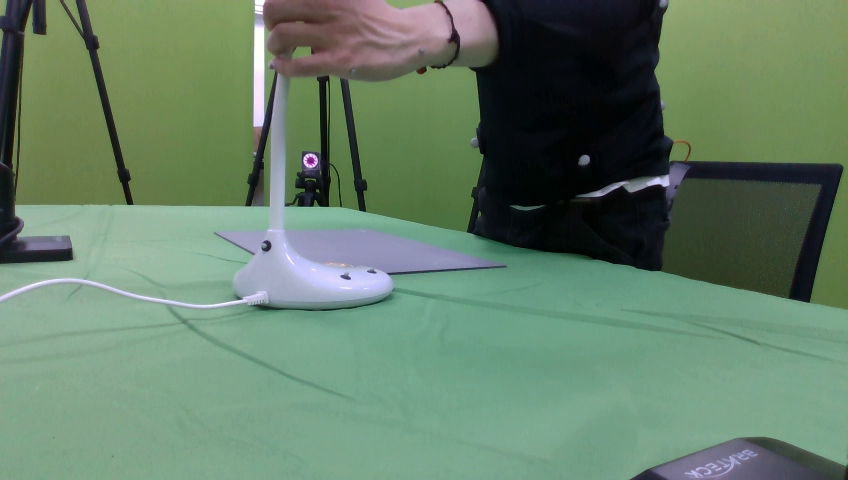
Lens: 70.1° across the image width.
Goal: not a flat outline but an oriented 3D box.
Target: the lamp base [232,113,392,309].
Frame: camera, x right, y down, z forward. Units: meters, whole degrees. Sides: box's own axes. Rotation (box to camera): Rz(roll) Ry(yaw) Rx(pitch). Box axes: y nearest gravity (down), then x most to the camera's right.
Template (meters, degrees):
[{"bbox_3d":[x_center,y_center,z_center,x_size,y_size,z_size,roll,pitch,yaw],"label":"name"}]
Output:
[{"bbox_3d":[-0.113,-0.031,0.594,0.160,0.180,0.179,5,10,18],"label":"lamp base"}]
